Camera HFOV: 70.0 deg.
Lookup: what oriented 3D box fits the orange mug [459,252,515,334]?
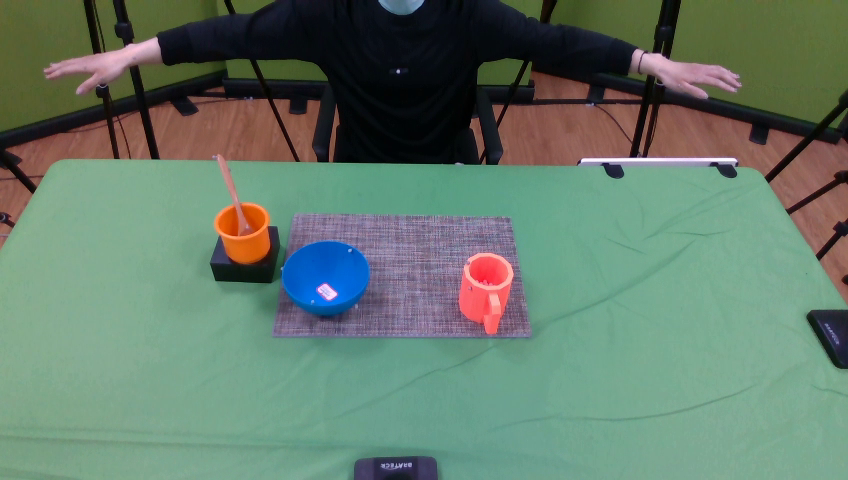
[{"bbox_3d":[0.111,0.096,1.052,0.083,0.101,0.125,-4,42,-7],"label":"orange mug"}]

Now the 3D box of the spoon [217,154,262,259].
[{"bbox_3d":[-0.330,-0.060,1.073,0.042,0.194,0.021,-18,6,-21],"label":"spoon"}]

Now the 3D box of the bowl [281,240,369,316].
[{"bbox_3d":[-0.170,0.080,1.062,0.151,0.077,0.150,2,46,-2],"label":"bowl"}]
